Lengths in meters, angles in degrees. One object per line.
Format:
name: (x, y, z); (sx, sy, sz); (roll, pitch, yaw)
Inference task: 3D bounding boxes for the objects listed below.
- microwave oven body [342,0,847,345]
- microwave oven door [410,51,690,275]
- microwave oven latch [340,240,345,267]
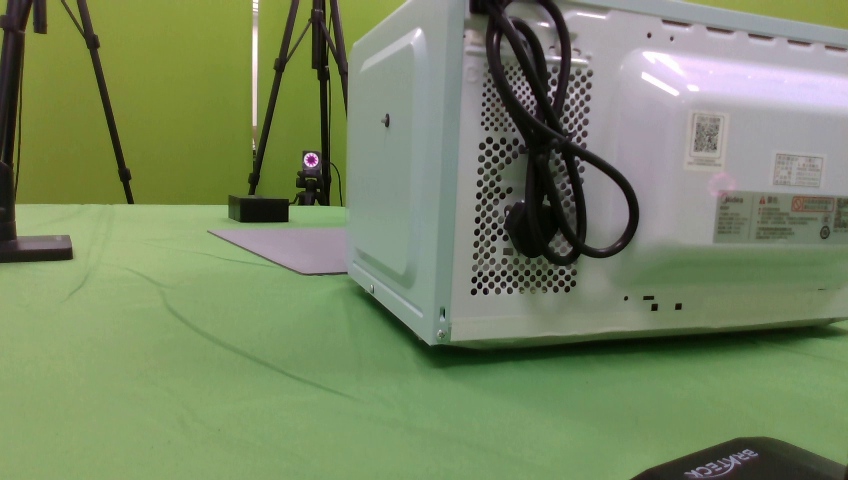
microwave oven body: (0.169, -0.060, 0.573); (0.444, 0.260, 0.324); (1, 7, -20)
microwave oven door: (0.161, -0.084, 0.723); (0.357, 0.243, 0.039); (0, 8, -20)
microwave oven latch: (-0.052, 0.016, 0.661); (0.079, 0.029, 0.030); (1, 7, -17)
